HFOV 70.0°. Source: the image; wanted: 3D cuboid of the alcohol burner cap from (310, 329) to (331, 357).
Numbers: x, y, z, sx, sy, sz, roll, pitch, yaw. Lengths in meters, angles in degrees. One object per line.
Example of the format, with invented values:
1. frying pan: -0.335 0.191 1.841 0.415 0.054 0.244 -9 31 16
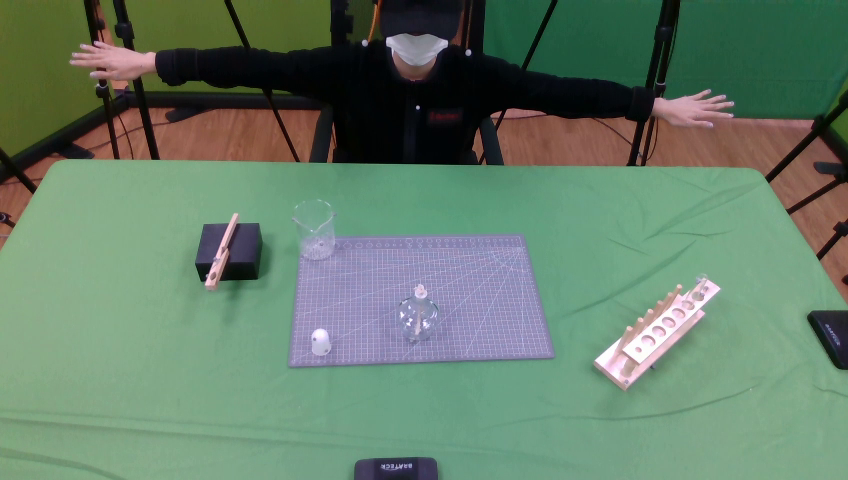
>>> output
1. alcohol burner cap: -0.173 0.168 1.005 0.034 0.048 0.033 2 46 -2

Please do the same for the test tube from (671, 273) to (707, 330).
1. test tube: 0.443 0.106 1.018 0.017 0.151 0.017 -1 49 1

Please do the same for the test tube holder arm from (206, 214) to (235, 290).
1. test tube holder arm: -0.364 0.017 1.090 0.013 0.015 0.177 7 45 -8

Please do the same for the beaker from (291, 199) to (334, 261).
1. beaker: -0.206 -0.014 1.138 0.074 0.101 0.083 -7 48 -11

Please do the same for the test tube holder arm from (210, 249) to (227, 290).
1. test tube holder arm: -0.359 0.050 1.059 0.010 0.015 0.087 8 45 -8

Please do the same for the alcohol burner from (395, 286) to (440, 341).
1. alcohol burner: -0.010 0.116 1.018 0.078 0.119 0.077 3 47 -3

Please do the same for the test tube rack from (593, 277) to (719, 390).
1. test tube rack: 0.401 0.148 1.043 0.242 0.085 0.066 -30 55 -29
